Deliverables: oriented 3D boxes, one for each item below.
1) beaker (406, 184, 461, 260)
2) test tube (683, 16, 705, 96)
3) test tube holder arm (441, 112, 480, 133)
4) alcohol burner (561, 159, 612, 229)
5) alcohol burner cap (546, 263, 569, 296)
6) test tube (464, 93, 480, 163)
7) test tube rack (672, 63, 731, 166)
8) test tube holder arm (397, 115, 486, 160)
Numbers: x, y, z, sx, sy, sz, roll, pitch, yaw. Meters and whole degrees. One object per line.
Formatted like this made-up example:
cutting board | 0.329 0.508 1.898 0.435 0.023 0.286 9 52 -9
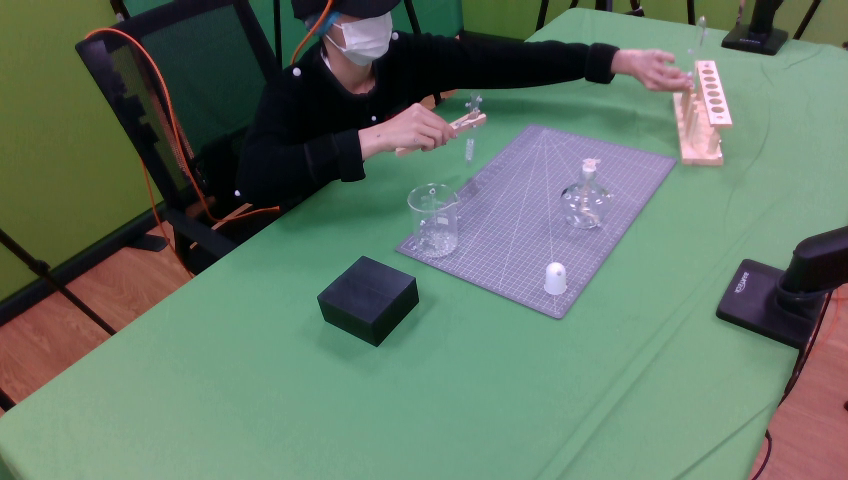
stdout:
beaker | 0.019 -0.026 0.939 0.084 0.101 0.074 1 41 9
test tube | 0.495 -0.336 1.110 0.017 0.151 0.017 -4 39 4
test tube holder arm | 0.062 -0.195 1.027 0.088 0.015 0.010 -34 52 -29
alcohol burner | 0.257 -0.077 0.951 0.078 0.119 0.077 -3 40 3
alcohol burner cap | 0.191 0.053 0.862 0.034 0.048 0.033 -5 40 4
test tube | 0.083 -0.191 1.051 0.017 0.151 0.017 1 51 -1
test tube rack | 0.513 -0.240 1.132 0.066 0.085 0.242 4 41 14
test tube holder arm | 0.031 -0.172 1.003 0.179 0.015 0.013 -28 49 -25
